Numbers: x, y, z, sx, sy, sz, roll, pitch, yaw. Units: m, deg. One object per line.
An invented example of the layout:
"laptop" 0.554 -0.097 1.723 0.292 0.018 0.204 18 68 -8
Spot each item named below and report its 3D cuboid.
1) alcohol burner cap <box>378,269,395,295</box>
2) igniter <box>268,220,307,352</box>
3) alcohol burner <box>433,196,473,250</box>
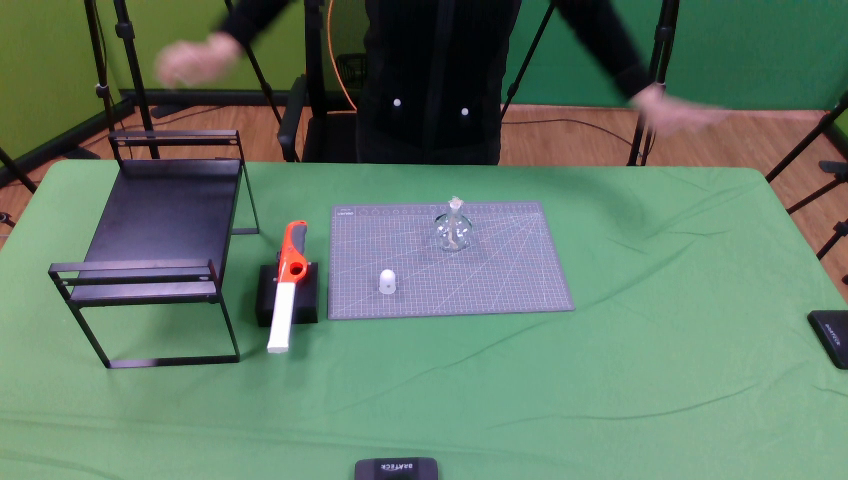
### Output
"alcohol burner cap" -0.068 0.073 1.103 0.034 0.048 0.033 3 46 -3
"igniter" -0.235 0.068 1.045 0.057 0.025 0.274 1 49 -4
"alcohol burner" 0.058 -0.038 1.169 0.078 0.119 0.077 3 45 -3
